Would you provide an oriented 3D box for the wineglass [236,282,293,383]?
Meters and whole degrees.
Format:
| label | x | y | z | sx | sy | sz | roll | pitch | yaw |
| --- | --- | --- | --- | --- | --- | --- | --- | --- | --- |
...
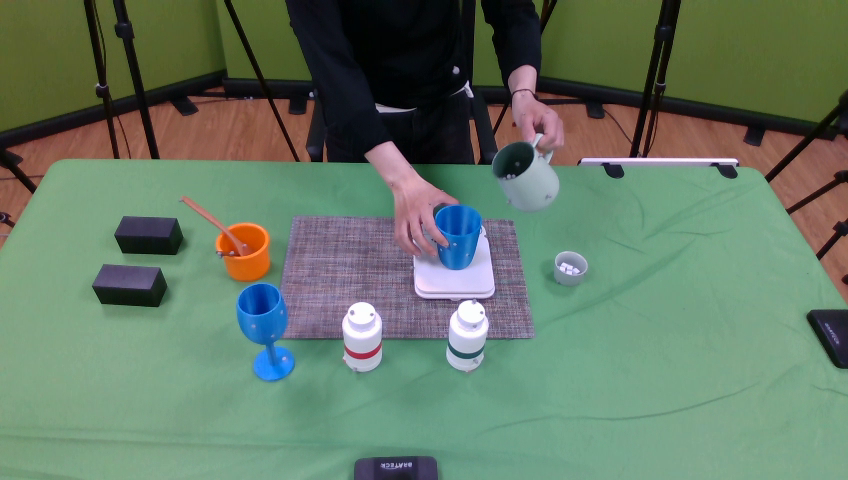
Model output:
| label | x | y | z | sx | sy | sz | roll | pitch | yaw |
| --- | --- | --- | --- | --- | --- | --- | --- | --- | --- |
| wineglass | -0.243 | 0.143 | 0.934 | 0.074 | 0.173 | 0.073 | 2 | 46 | -2 |

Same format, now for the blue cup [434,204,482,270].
| label | x | y | z | sx | sy | sz | roll | pitch | yaw |
| --- | --- | --- | --- | --- | --- | --- | --- | --- | --- |
| blue cup | 0.060 | -0.001 | 1.099 | 0.092 | 0.101 | 0.092 | 0 | 44 | 1 |

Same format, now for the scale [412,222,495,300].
| label | x | y | z | sx | sy | sz | roll | pitch | yaw |
| --- | --- | --- | --- | --- | --- | --- | --- | --- | --- |
| scale | 0.052 | 0.031 | 1.158 | 0.149 | 0.032 | 0.199 | 1 | 46 | -4 |

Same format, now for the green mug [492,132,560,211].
| label | x | y | z | sx | sy | sz | roll | pitch | yaw |
| --- | --- | --- | --- | --- | --- | --- | --- | --- | --- |
| green mug | 0.180 | -0.122 | 1.023 | 0.092 | 0.105 | 0.125 | 21 | 74 | 42 |

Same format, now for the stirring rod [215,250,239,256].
| label | x | y | z | sx | sy | sz | roll | pitch | yaw |
| --- | --- | --- | --- | --- | --- | --- | --- | --- | --- |
| stirring rod | -0.339 | 0.024 | 1.059 | 0.014 | 0.176 | 0.006 | 18 | 86 | -6 |

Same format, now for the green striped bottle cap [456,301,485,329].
| label | x | y | z | sx | sy | sz | roll | pitch | yaw |
| --- | --- | --- | --- | --- | --- | --- | --- | --- | --- |
| green striped bottle cap | 0.073 | 0.116 | 0.943 | 0.044 | 0.020 | 0.044 | 2 | 46 | -2 |

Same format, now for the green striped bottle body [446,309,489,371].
| label | x | y | z | sx | sy | sz | roll | pitch | yaw |
| --- | --- | --- | --- | --- | --- | --- | --- | --- | --- |
| green striped bottle body | 0.070 | 0.155 | 0.984 | 0.063 | 0.120 | 0.063 | 2 | 45 | -2 |

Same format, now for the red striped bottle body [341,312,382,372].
| label | x | y | z | sx | sy | sz | roll | pitch | yaw |
| --- | --- | --- | --- | --- | --- | --- | --- | --- | --- |
| red striped bottle body | -0.100 | 0.154 | 0.972 | 0.063 | 0.120 | 0.062 | 2 | 46 | -2 |

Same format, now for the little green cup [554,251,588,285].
| label | x | y | z | sx | sy | sz | roll | pitch | yaw |
| --- | --- | --- | --- | --- | --- | --- | --- | --- | --- |
| little green cup | 0.277 | 0.055 | 1.151 | 0.061 | 0.039 | 0.061 | 1 | 46 | -1 |

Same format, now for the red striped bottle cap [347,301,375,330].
| label | x | y | z | sx | sy | sz | roll | pitch | yaw |
| --- | --- | --- | --- | --- | --- | --- | --- | --- | --- |
| red striped bottle cap | -0.097 | 0.116 | 0.934 | 0.044 | 0.018 | 0.044 | 2 | 49 | -2 |

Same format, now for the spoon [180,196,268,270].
| label | x | y | z | sx | sy | sz | roll | pitch | yaw |
| --- | --- | --- | --- | --- | --- | --- | --- | --- | --- |
| spoon | -0.360 | -0.014 | 1.094 | 0.021 | 0.194 | 0.041 | -27 | 26 | 31 |
